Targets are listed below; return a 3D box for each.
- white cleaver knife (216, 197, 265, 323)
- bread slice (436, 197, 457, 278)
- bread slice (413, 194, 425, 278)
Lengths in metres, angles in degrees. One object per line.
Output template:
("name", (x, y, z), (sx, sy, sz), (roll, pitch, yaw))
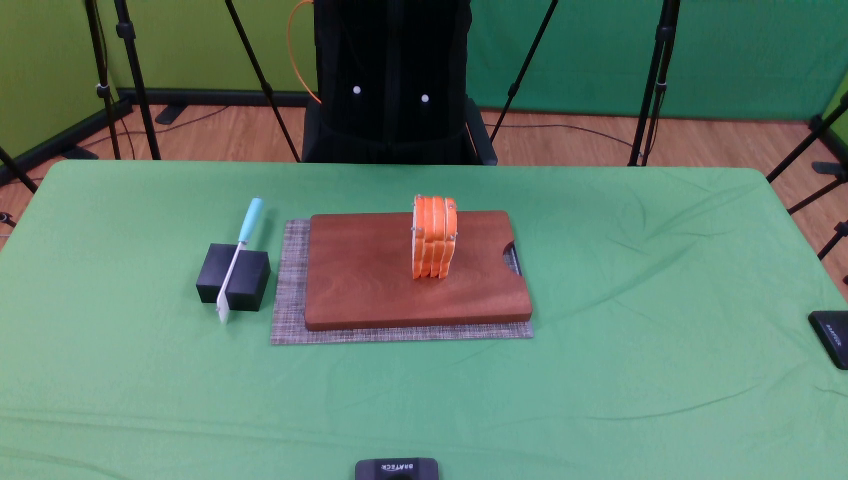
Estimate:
("white cleaver knife", (-0.338, 0.028, 1.119), (0.021, 0.066, 0.284), (2, 46, 4))
("bread slice", (0.040, -0.010, 1.097), (0.019, 0.132, 0.104), (4, 48, -7))
("bread slice", (-0.010, -0.015, 1.095), (0.018, 0.135, 0.106), (0, 43, -3))
